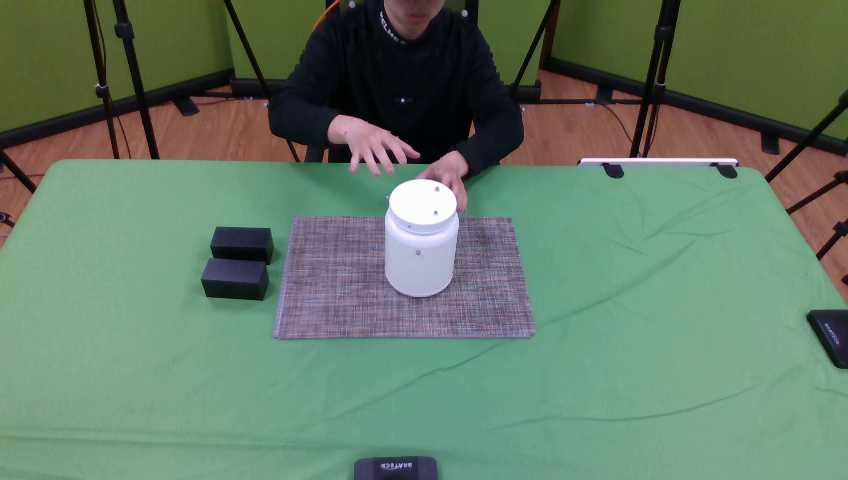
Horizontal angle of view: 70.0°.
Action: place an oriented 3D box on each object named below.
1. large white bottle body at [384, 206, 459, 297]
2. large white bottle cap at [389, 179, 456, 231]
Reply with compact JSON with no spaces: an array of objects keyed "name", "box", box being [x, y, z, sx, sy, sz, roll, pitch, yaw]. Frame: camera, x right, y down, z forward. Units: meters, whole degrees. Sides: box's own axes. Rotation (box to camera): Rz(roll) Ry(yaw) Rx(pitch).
[{"name":"large white bottle body","box":[-0.006,-0.002,1.081,0.131,0.185,0.130,2,46,-2]},{"name":"large white bottle cap","box":[-0.003,-0.061,1.020,0.115,0.018,0.114,2,46,-2]}]
